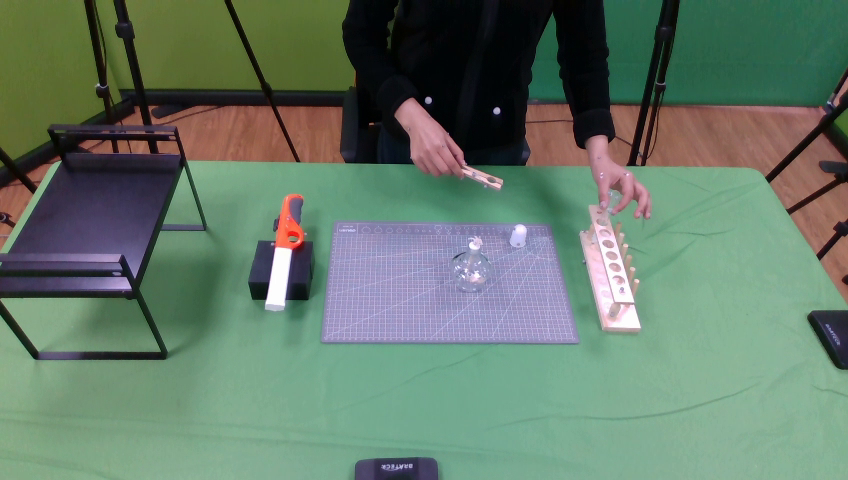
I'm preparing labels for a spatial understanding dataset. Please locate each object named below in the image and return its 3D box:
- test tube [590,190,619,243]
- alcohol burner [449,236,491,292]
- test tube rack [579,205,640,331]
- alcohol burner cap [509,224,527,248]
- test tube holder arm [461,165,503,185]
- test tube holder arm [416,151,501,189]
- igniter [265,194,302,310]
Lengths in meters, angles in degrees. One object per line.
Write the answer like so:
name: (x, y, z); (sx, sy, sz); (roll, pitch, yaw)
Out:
test tube: (0.340, -0.041, 1.143); (0.017, 0.151, 0.017); (1, 55, -2)
alcohol burner: (0.086, 0.038, 1.101); (0.078, 0.119, 0.077); (3, 44, -2)
test tube rack: (0.353, 0.047, 1.137); (0.067, 0.085, 0.241); (2, 46, -2)
alcohol burner cap: (0.189, -0.011, 1.206); (0.034, 0.048, 0.033); (2, 45, -2)
test tube holder arm: (0.109, -0.124, 1.168); (0.087, 0.015, 0.010); (22, 66, 11)
test tube holder arm: (0.066, -0.136, 1.174); (0.178, 0.015, 0.013); (22, 66, 11)
igniter: (-0.253, 0.011, 1.099); (0.057, 0.025, 0.274); (9, 46, -12)
